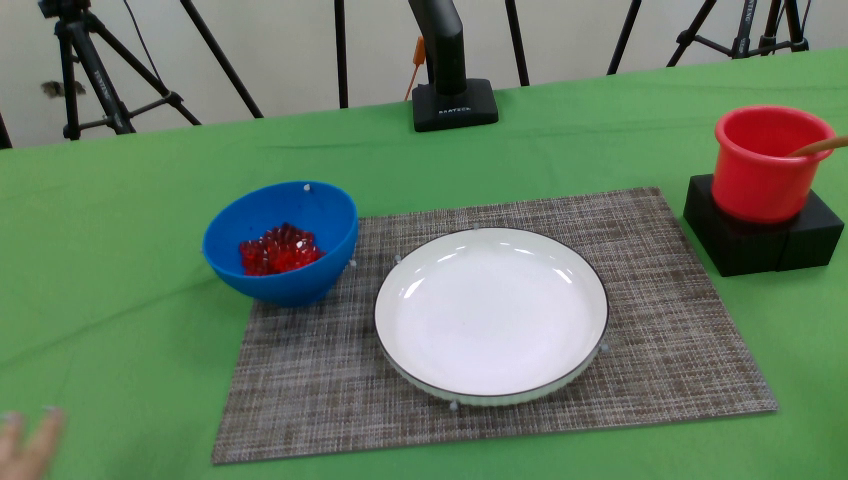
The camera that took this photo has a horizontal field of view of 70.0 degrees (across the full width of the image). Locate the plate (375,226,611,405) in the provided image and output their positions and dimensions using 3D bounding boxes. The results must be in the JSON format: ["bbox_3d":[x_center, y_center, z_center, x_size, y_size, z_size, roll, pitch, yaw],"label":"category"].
[{"bbox_3d":[0.061,0.066,0.550,0.207,0.039,0.205,-5,40,4],"label":"plate"}]

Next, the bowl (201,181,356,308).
[{"bbox_3d":[-0.136,0.015,0.611,0.151,0.077,0.150,-5,40,4],"label":"bowl"}]

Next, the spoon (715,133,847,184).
[{"bbox_3d":[0.322,-0.073,0.512,0.042,0.021,0.193,-21,-3,-14],"label":"spoon"}]
